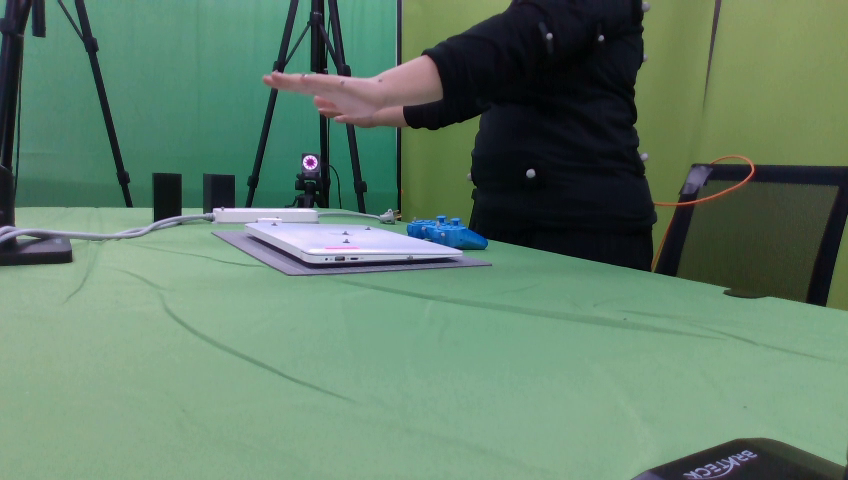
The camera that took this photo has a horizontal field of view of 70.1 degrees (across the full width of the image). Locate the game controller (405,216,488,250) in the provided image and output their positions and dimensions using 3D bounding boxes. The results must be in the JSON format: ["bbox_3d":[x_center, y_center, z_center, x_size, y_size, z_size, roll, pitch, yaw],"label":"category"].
[{"bbox_3d":[0.034,-0.013,1.067,0.097,0.051,0.154,-6,10,-29],"label":"game controller"}]

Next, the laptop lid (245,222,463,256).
[{"bbox_3d":[-0.126,-0.005,0.951,0.243,0.013,0.355,1,7,-28],"label":"laptop lid"}]

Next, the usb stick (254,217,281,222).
[{"bbox_3d":[-0.296,-0.028,1.114,0.059,0.027,0.021,-2,11,-30],"label":"usb stick"}]

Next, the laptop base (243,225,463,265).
[{"bbox_3d":[-0.129,0.007,0.952,0.237,0.023,0.352,2,6,-30],"label":"laptop base"}]

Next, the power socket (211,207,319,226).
[{"bbox_3d":[-0.335,-0.051,1.282,0.228,0.032,0.072,-2,10,-29],"label":"power socket"}]

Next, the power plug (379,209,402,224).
[{"bbox_3d":[-0.081,-0.061,1.421,0.053,0.035,0.072,-16,21,-6],"label":"power plug"}]
